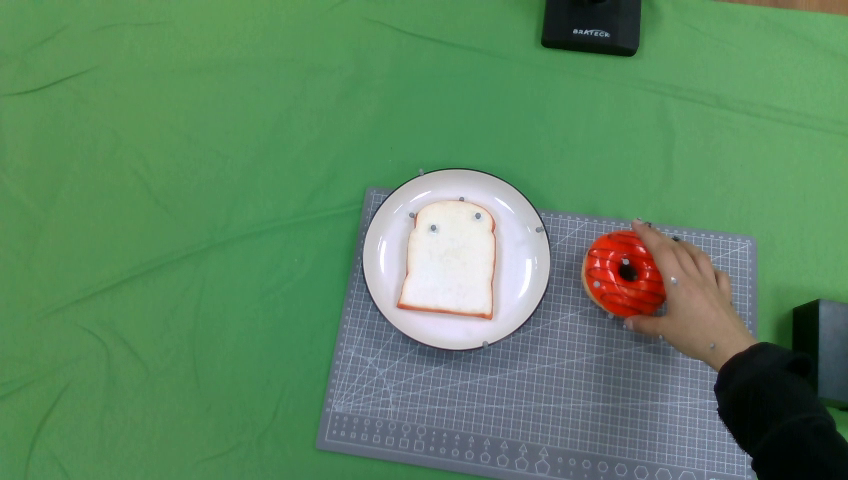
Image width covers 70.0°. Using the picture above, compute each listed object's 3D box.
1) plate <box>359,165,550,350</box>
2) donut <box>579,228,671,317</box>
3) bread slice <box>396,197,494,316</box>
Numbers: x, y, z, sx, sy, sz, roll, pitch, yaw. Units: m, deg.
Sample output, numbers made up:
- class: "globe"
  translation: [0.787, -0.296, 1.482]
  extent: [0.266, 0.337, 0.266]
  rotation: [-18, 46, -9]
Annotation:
- class: "plate"
  translation: [0.033, 0.019, 0.671]
  extent: [0.209, 0.038, 0.208]
  rotation: [0, 74, 1]
- class: "donut"
  translation: [0.218, 0.034, 0.658]
  extent: [0.099, 0.048, 0.098]
  rotation: [0, 74, 0]
- class: "bread slice"
  translation: [0.027, 0.015, 0.674]
  extent: [0.105, 0.019, 0.131]
  rotation: [5, 74, 2]
